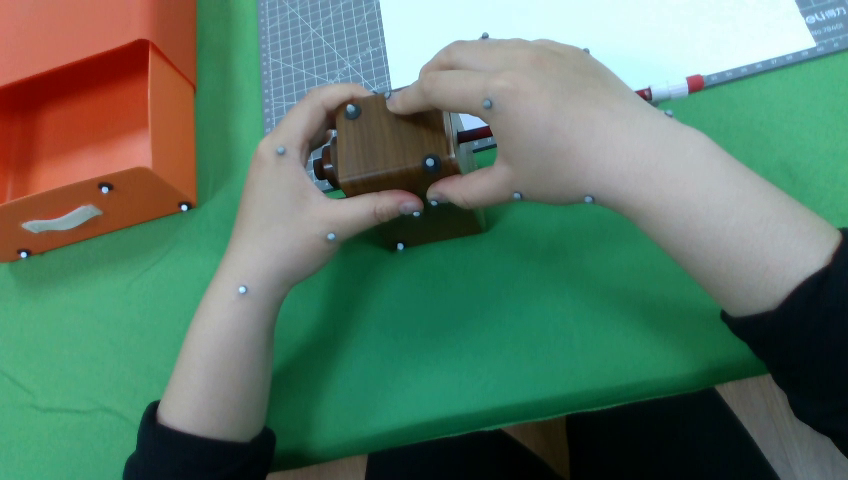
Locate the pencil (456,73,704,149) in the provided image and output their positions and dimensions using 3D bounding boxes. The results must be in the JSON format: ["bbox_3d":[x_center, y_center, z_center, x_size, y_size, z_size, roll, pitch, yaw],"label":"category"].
[{"bbox_3d":[0.062,-0.068,0.355,0.194,0.012,0.012,-13,66,9],"label":"pencil"}]

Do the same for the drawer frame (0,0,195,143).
[{"bbox_3d":[-0.318,-0.209,0.561,0.201,0.083,0.211,-15,65,10],"label":"drawer frame"}]

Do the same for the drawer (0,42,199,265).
[{"bbox_3d":[-0.297,-0.103,0.516,0.194,0.074,0.210,-16,65,10],"label":"drawer"}]

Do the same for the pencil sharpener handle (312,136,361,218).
[{"bbox_3d":[-0.061,-0.036,0.394,0.030,0.068,0.035,-12,57,12],"label":"pencil sharpener handle"}]

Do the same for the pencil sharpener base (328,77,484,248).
[{"bbox_3d":[-0.009,-0.044,0.396,0.076,0.108,0.061,-12,66,12],"label":"pencil sharpener base"}]
